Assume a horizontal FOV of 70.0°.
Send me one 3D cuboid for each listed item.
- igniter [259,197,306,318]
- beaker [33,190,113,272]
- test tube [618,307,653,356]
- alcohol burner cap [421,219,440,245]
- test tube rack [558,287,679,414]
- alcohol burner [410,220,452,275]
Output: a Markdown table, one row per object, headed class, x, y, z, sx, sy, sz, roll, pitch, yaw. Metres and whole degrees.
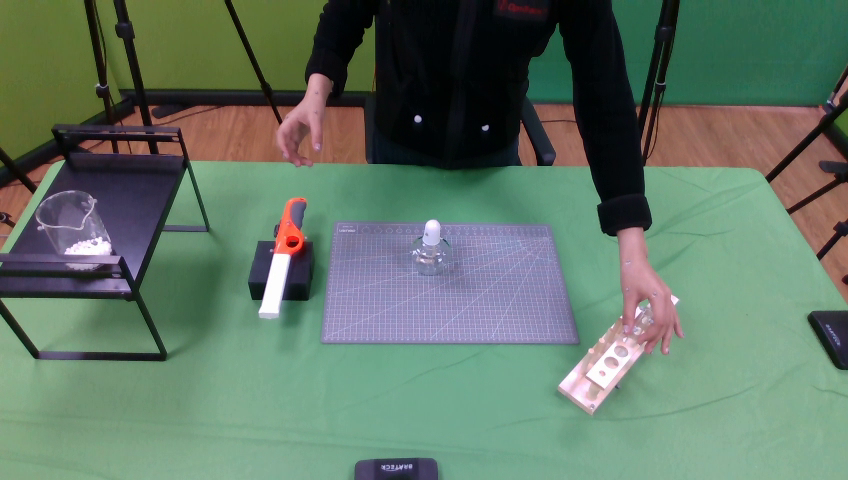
| class | x | y | z | sx | sy | sz | roll | pitch | yaw |
| --- | --- | --- | --- | --- | --- | --- | --- | --- | --- |
| igniter | -0.252 | 0.021 | 1.087 | 0.057 | 0.025 | 0.275 | 4 | 48 | -3 |
| beaker | -0.493 | -0.008 | 0.864 | 0.083 | 0.101 | 0.074 | 37 | 55 | 27 |
| test tube | 0.330 | 0.154 | 0.956 | 0.017 | 0.151 | 0.017 | 2 | 49 | -2 |
| alcohol burner cap | 0.014 | -0.017 | 1.094 | 0.034 | 0.048 | 0.033 | 5 | 44 | -5 |
| test tube rack | 0.327 | 0.170 | 1.009 | 0.066 | 0.085 | 0.242 | 35 | 54 | 27 |
| alcohol burner | 0.013 | 0.008 | 1.120 | 0.078 | 0.120 | 0.077 | 1 | 48 | -1 |
